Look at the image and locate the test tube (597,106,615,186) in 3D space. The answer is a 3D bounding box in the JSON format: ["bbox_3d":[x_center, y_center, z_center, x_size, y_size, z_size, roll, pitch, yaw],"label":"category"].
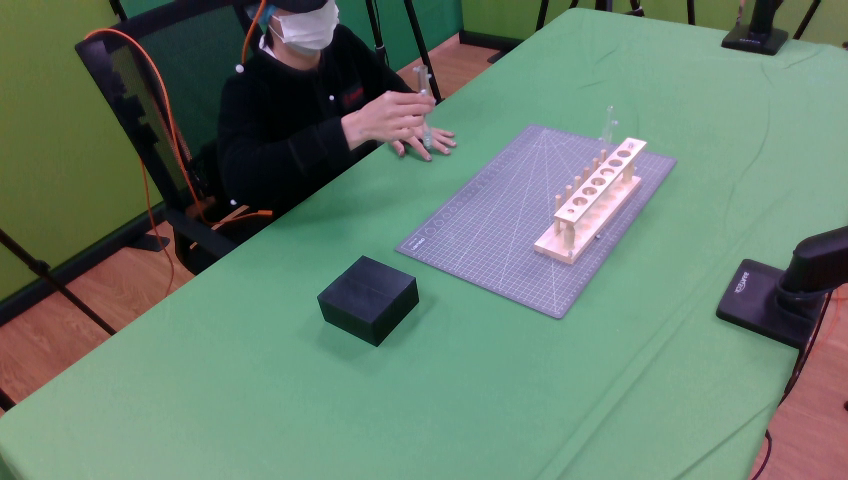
[{"bbox_3d":[0.295,-0.150,0.984,0.017,0.151,0.017,-4,41,4],"label":"test tube"}]

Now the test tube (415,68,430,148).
[{"bbox_3d":[-0.002,-0.213,0.993,0.017,0.151,0.017,-3,46,3],"label":"test tube"}]

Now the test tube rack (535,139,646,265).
[{"bbox_3d":[0.269,-0.071,0.964,0.066,0.085,0.243,23,49,32],"label":"test tube rack"}]
